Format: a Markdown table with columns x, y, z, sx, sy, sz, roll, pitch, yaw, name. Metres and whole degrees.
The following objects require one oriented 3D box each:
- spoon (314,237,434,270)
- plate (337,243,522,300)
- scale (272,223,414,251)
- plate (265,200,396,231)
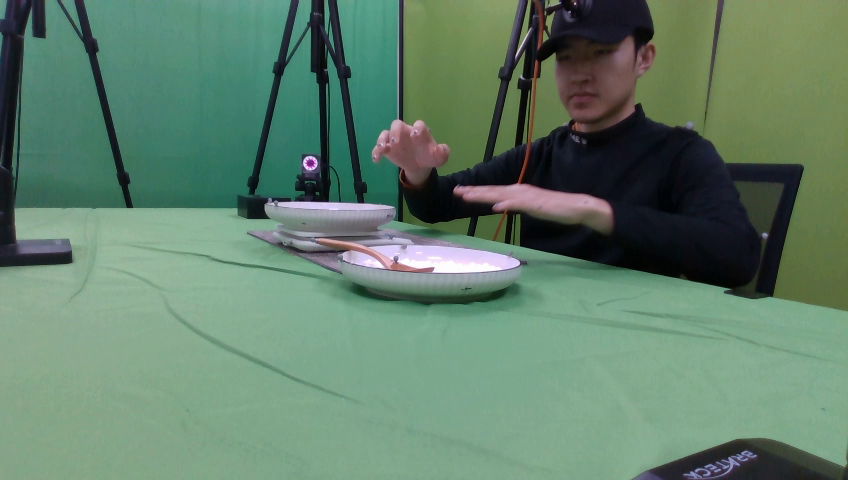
| x | y | z | sx | sy | sz | roll | pitch | yaw | name |
| --- | --- | --- | --- | --- | --- | --- | --- | --- | --- |
| -0.064 | 0.015 | 0.695 | 0.192 | 0.021 | 0.042 | 18 | 16 | 42 | spoon |
| 0.007 | 0.035 | 0.688 | 0.209 | 0.038 | 0.209 | 2 | 6 | 0 | plate |
| -0.132 | -0.008 | 0.984 | 0.202 | 0.031 | 0.148 | -2 | 8 | -32 | scale |
| -0.150 | -0.040 | 0.971 | 0.208 | 0.039 | 0.207 | 2 | 6 | 0 | plate |
